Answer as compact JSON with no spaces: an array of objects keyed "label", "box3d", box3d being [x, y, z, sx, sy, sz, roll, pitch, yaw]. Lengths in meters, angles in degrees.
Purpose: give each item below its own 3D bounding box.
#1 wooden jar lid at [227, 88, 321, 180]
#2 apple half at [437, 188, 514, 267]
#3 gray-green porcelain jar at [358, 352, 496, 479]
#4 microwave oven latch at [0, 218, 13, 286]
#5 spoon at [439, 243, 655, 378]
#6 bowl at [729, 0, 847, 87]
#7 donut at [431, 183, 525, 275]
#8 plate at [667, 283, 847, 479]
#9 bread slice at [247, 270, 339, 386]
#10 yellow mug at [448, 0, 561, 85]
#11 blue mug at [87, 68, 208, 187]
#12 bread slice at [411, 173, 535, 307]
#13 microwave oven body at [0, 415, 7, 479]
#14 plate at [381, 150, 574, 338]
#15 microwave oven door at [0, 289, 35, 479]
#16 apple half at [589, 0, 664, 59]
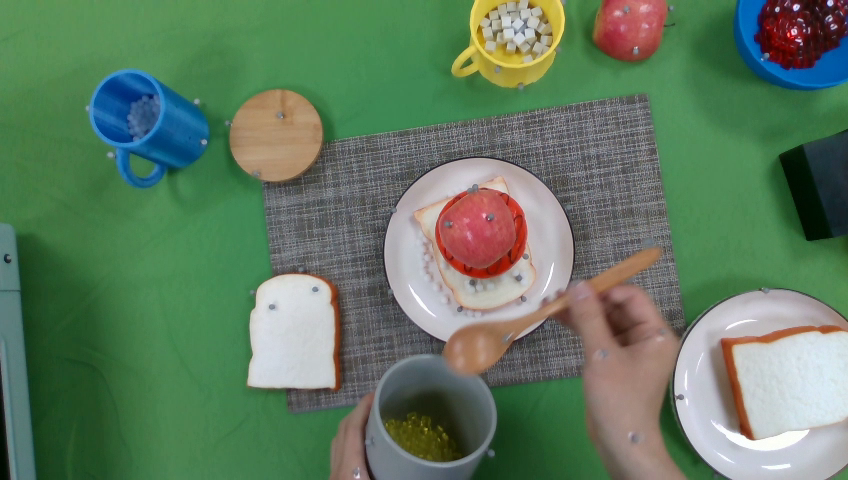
[{"label":"wooden jar lid","box3d":[-0.171,-0.120,0.698,0.108,0.021,0.108,-1,83,5]},{"label":"apple half","box3d":[0.052,-0.013,0.602,0.081,0.033,0.081,-1,85,11]},{"label":"gray-green porcelain jar","box3d":[-0.003,0.179,0.546,0.106,0.127,0.105,9,44,-8]},{"label":"microwave oven latch","box3d":[-0.489,0.013,0.687,0.030,0.029,0.079,-4,87,4]},{"label":"spoon","box3d":[0.093,0.056,0.476,0.194,0.022,0.041,-33,84,23]},{"label":"bowl","box3d":[0.389,-0.226,0.637,0.151,0.077,0.151,0,87,5]},{"label":"donut","box3d":[0.058,-0.011,0.637,0.099,0.048,0.099,0,87,4]},{"label":"plate","box3d":[0.359,0.149,0.638,0.209,0.038,0.208,0,87,4]},{"label":"bread slice","box3d":[-0.149,0.100,0.684,0.105,0.019,0.131,-1,88,3]},{"label":"yellow mug","box3d":[0.083,-0.221,0.665,0.131,0.064,0.099,-32,85,2]},{"label":"blue mug","box3d":[-0.304,-0.115,0.667,0.082,0.106,0.116,13,87,5]},{"label":"bread slice","box3d":[0.062,0.005,0.666,0.107,0.018,0.134,-25,85,3]},{"label":"microwave oven body","box3d":[-0.619,0.202,0.589,0.326,0.260,0.441,-8,87,3]},{"label":"plate","box3d":[0.057,0.008,0.664,0.207,0.039,0.207,0,87,4]},{"label":"microwave oven door","box3d":[-0.470,0.224,0.573,0.039,0.244,0.355,-8,86,4]},{"label":"apple half","box3d":[0.224,-0.246,0.663,0.074,0.053,0.080,15,88,7]}]
